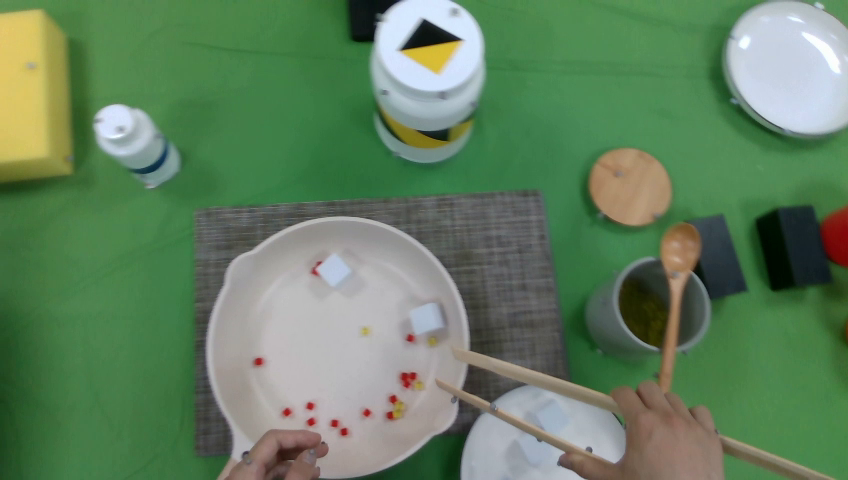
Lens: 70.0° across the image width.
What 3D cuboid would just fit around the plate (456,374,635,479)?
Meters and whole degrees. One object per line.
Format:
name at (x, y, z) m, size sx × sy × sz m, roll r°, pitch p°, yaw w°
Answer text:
plate at (0.139, 0.262, 0.708) m, size 0.208 × 0.039 × 0.206 m, roll 1°, pitch 78°, yaw -4°

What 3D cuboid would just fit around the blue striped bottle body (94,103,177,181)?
blue striped bottle body at (-0.348, -0.120, 0.728) m, size 0.063 × 0.121 × 0.062 m, roll 1°, pitch 76°, yaw -3°

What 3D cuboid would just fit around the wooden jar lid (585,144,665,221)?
wooden jar lid at (0.267, -0.075, 0.809) m, size 0.108 × 0.021 × 0.108 m, roll 1°, pitch 78°, yaw -3°

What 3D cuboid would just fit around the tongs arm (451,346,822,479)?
tongs arm at (0.188, 0.168, 0.551) m, size 0.384 × 0.028 × 0.028 m, roll 16°, pitch 49°, yaw 31°

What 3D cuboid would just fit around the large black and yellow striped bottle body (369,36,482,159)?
large black and yellow striped bottle body at (-0.001, -0.191, 0.736) m, size 0.131 × 0.184 × 0.130 m, roll 1°, pitch 75°, yaw -3°

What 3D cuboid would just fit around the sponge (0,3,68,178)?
sponge at (-0.527, -0.186, 0.763) m, size 0.118 × 0.061 × 0.206 m, roll -9°, pitch 78°, yaw -6°

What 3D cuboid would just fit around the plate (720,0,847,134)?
plate at (0.517, -0.244, 0.856) m, size 0.209 × 0.038 × 0.208 m, roll 1°, pitch 76°, yaw -3°

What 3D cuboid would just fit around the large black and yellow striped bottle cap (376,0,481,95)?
large black and yellow striped bottle cap at (0.005, -0.213, 0.655) m, size 0.115 × 0.019 × 0.114 m, roll 1°, pitch 78°, yaw -3°

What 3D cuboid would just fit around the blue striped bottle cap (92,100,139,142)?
blue striped bottle cap at (-0.346, -0.134, 0.679) m, size 0.044 × 0.021 × 0.044 m, roll 1°, pitch 78°, yaw -3°

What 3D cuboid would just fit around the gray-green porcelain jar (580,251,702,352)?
gray-green porcelain jar at (0.248, 0.078, 0.716) m, size 0.106 × 0.127 × 0.105 m, roll 1°, pitch 76°, yaw -3°

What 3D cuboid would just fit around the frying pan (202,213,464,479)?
frying pan at (-0.161, 0.192, 0.670) m, size 0.306 × 0.103 × 0.486 m, roll 36°, pitch 69°, yaw 6°

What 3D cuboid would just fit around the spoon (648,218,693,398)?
spoon at (0.257, 0.071, 0.647) m, size 0.042 × 0.022 × 0.193 m, roll 12°, pitch 80°, yaw -3°

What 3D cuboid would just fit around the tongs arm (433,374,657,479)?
tongs arm at (0.175, 0.185, 0.539) m, size 0.381 × 0.027 × 0.050 m, roll 20°, pitch 55°, yaw 33°
